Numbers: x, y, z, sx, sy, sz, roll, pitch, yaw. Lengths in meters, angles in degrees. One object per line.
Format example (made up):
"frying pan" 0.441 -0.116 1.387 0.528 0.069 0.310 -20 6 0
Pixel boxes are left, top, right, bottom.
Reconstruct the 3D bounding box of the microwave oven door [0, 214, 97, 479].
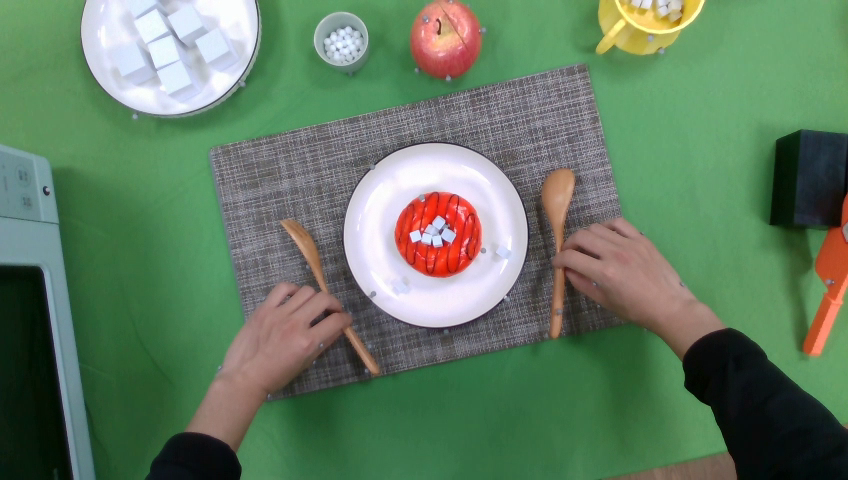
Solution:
"microwave oven door" -0.411 0.147 0.573 0.039 0.244 0.355 -10 88 1

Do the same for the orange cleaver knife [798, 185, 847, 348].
"orange cleaver knife" 0.438 0.018 0.645 0.012 0.076 0.213 7 120 4

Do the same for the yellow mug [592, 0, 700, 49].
"yellow mug" 0.236 -0.262 0.670 0.131 0.064 0.100 -44 88 1

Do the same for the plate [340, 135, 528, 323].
"plate" 0.011 -0.012 0.680 0.209 0.038 0.209 0 88 2

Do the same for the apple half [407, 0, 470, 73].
"apple half" 0.010 -0.220 0.673 0.053 0.074 0.081 -33 91 5

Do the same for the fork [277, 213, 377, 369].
"fork" -0.108 0.056 0.684 0.018 0.028 0.207 -31 85 25

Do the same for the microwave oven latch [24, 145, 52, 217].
"microwave oven latch" -0.442 -0.065 0.681 0.030 0.029 0.079 -8 89 1

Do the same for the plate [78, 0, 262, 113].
"plate" -0.288 -0.247 0.700 0.207 0.039 0.207 0 88 2

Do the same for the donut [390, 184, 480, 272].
"donut" 0.013 -0.013 0.669 0.099 0.048 0.099 0 90 3

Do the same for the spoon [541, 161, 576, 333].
"spoon" 0.147 0.005 0.671 0.041 0.022 0.193 -1 83 32

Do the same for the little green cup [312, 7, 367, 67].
"little green cup" -0.094 -0.230 0.694 0.061 0.038 0.061 0 88 2

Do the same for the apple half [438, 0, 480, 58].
"apple half" 0.042 -0.242 0.672 0.033 0.081 0.081 -33 87 5

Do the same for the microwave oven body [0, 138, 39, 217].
"microwave oven body" -0.562 0.130 0.583 0.326 0.260 0.441 -10 88 1
